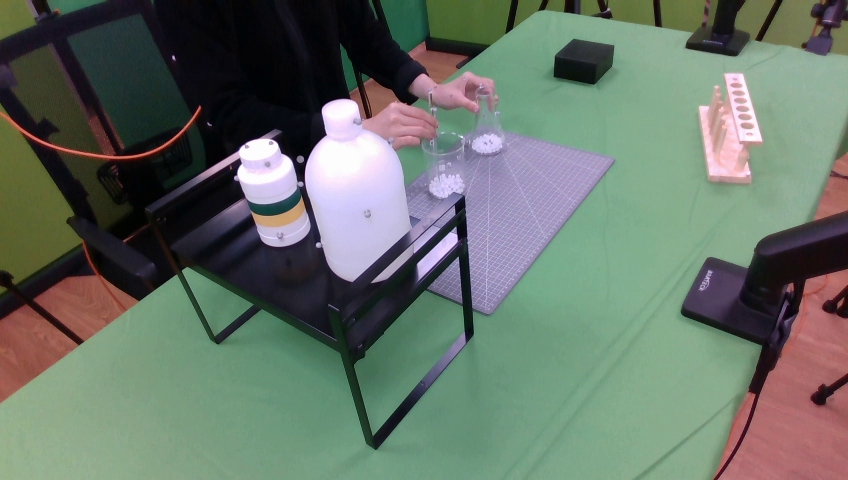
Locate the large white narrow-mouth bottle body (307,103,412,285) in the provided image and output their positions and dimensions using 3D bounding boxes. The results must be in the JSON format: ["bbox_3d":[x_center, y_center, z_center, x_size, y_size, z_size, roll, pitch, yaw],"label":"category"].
[{"bbox_3d":[-0.070,-0.051,0.638,0.102,0.195,0.101,-3,40,3],"label":"large white narrow-mouth bottle body"}]

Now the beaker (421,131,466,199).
[{"bbox_3d":[0.040,-0.130,1.060,0.084,0.100,0.073,-24,44,-20],"label":"beaker"}]

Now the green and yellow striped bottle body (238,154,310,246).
[{"bbox_3d":[-0.178,-0.056,0.714,0.063,0.120,0.063,-4,40,4],"label":"green and yellow striped bottle body"}]

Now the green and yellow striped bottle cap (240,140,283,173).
[{"bbox_3d":[-0.183,-0.094,0.679,0.045,0.020,0.045,-5,38,4],"label":"green and yellow striped bottle cap"}]

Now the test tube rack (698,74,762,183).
[{"bbox_3d":[0.547,-0.208,1.095,0.066,0.085,0.242,5,42,15],"label":"test tube rack"}]

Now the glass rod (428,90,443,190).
[{"bbox_3d":[0.021,-0.161,1.008,0.008,0.200,0.008,-4,45,5],"label":"glass rod"}]

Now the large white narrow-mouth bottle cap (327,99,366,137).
[{"bbox_3d":[-0.075,-0.117,0.582,0.038,0.024,0.037,-3,40,3],"label":"large white narrow-mouth bottle cap"}]

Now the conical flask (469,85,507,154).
[{"bbox_3d":[0.119,-0.230,1.145,0.075,0.122,0.075,-5,44,5],"label":"conical flask"}]
